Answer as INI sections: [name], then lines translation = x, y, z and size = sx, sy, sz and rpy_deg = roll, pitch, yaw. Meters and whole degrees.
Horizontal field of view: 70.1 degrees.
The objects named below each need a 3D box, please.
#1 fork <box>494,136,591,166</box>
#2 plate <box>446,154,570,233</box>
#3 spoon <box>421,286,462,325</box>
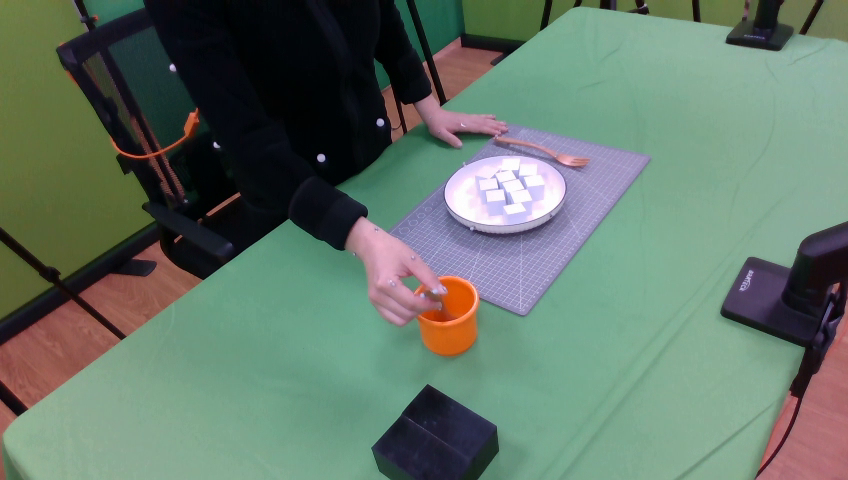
[fork]
translation = 0.219, -0.171, 1.144
size = 0.205, 0.019, 0.028
rpy_deg = 24, 56, 31
[plate]
translation = 0.142, -0.076, 1.033
size = 0.207, 0.039, 0.206
rpy_deg = -5, 40, 5
[spoon]
translation = 0.019, 0.079, 0.747
size = 0.041, 0.195, 0.021
rpy_deg = 23, 76, 18
